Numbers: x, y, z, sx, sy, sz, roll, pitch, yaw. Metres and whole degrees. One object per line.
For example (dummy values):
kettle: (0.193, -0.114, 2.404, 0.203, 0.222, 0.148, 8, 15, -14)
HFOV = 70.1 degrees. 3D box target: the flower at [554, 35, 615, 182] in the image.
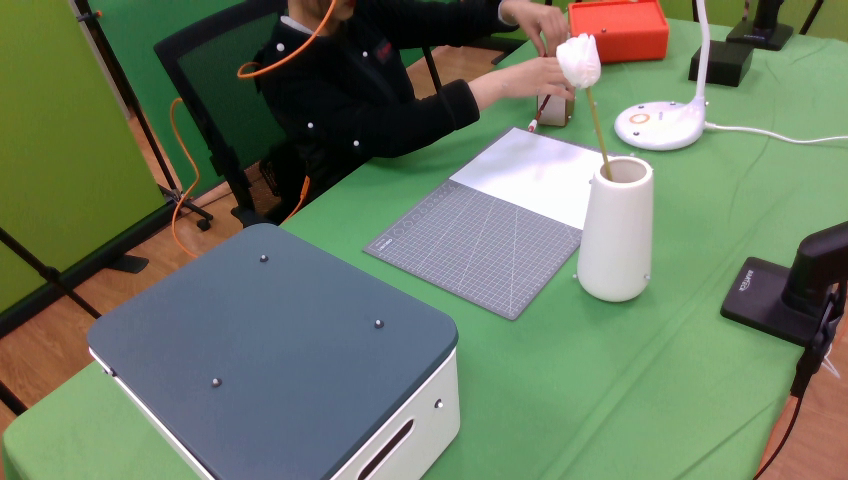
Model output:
flower: (0.237, -0.083, 0.774, 0.044, 0.363, 0.038, -22, 26, 6)

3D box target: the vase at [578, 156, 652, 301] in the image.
vase: (0.261, -0.011, 0.812, 0.098, 0.201, 0.097, -4, 40, 4)

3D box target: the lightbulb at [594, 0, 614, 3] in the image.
lightbulb: (0.305, -0.437, 0.977, 0.060, 0.107, 0.059, 12, 44, -11)

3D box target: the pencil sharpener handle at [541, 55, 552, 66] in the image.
pencil sharpener handle: (0.271, -0.354, 1.233, 0.068, 0.036, 0.030, 32, 48, 0)

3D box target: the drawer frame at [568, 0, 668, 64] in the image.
drawer frame: (0.450, -0.495, 1.441, 0.213, 0.083, 0.201, -1, 40, 9)

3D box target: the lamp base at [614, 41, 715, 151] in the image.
lamp base: (0.449, -0.277, 1.106, 0.179, 0.181, 0.160, 1, 41, 9)

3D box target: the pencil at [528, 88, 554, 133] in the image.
pencil: (0.229, -0.259, 1.143, 0.012, 0.012, 0.194, 11, 46, 23)

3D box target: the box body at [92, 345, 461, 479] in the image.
box body: (-0.162, 0.170, 0.708, 0.361, 0.161, 0.255, 25, 50, 34)

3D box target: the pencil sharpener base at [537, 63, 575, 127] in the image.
pencil sharpener base: (0.267, -0.292, 1.216, 0.061, 0.107, 0.077, 10, 44, 23)

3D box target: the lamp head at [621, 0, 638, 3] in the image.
lamp head: (0.319, -0.453, 0.962, 0.113, 0.123, 0.112, 20, 33, -13)

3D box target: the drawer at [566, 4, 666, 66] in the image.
drawer: (0.447, -0.493, 1.441, 0.211, 0.073, 0.194, 0, 40, 10)

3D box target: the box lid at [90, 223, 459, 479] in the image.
box lid: (-0.174, 0.102, 0.666, 0.368, 0.015, 0.264, 24, 48, 35)
